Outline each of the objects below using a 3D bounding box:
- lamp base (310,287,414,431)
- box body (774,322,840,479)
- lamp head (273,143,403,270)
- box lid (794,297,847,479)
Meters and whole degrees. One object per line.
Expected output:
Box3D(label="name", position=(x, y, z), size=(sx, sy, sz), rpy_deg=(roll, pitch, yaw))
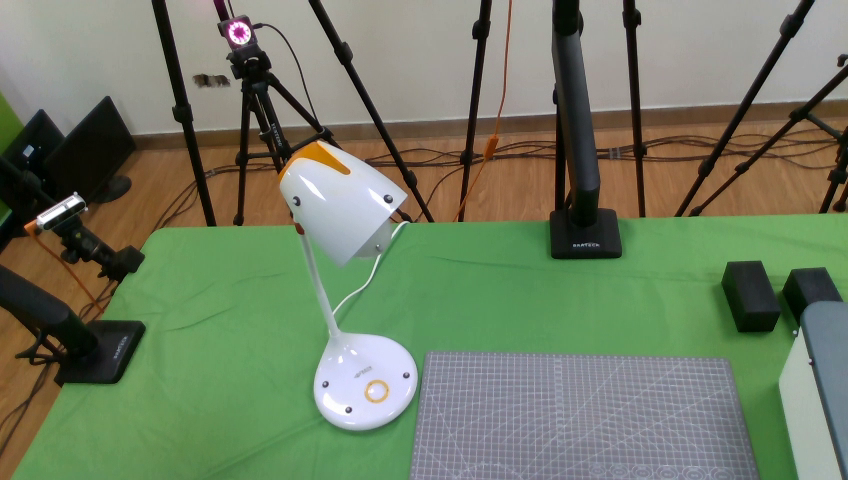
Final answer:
Box3D(label="lamp base", position=(-0.114, 0.159, 0.878), size=(0.160, 0.182, 0.177), rpy_deg=(-38, 49, -25))
Box3D(label="box body", position=(0.567, 0.260, 0.671), size=(0.253, 0.162, 0.361), rpy_deg=(2, 46, 12))
Box3D(label="lamp head", position=(-0.103, -0.043, 0.656), size=(0.123, 0.112, 0.112), rpy_deg=(39, 57, -2))
Box3D(label="box lid", position=(0.558, 0.207, 0.619), size=(0.262, 0.015, 0.368), rpy_deg=(2, 47, 12))
